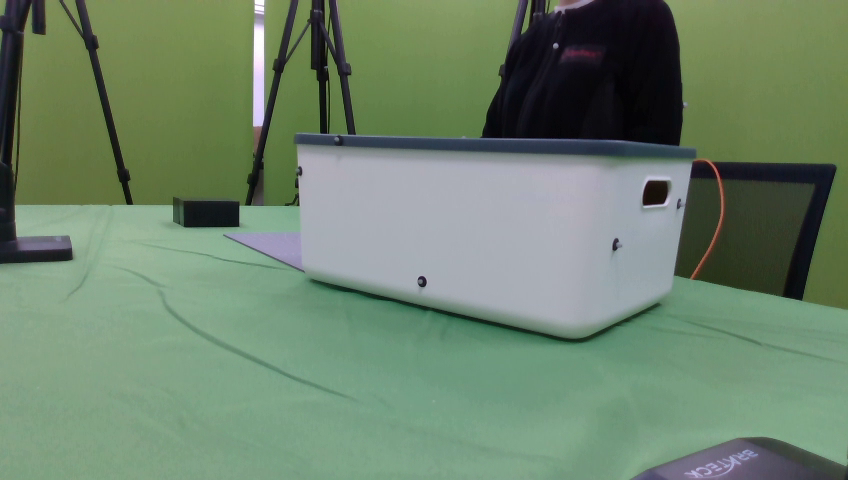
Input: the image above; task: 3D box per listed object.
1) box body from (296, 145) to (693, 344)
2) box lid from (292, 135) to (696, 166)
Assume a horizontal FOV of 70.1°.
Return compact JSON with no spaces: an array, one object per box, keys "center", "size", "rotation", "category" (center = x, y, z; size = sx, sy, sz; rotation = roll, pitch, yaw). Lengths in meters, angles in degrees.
[{"center":[0.065,-0.020,0.653],"size":[0.362,0.160,0.255],"rotation":[9,9,36],"category":"box body"},{"center":[0.068,-0.094,0.645],"size":[0.369,0.015,0.265],"rotation":[8,9,37],"category":"box lid"}]
